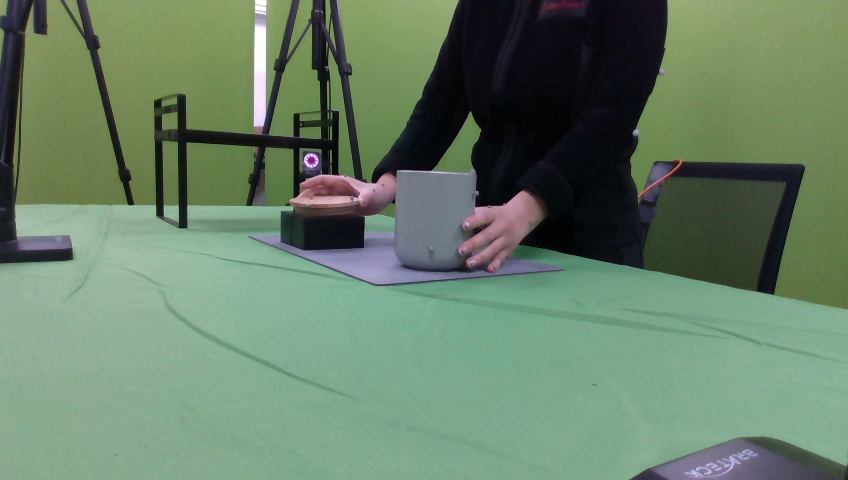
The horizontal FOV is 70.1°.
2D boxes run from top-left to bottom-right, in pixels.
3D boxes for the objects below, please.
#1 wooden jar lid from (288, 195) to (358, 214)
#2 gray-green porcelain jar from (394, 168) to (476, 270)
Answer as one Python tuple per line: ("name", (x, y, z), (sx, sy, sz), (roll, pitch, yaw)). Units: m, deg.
("wooden jar lid", (-0.157, -0.056, 0.950), (0.108, 0.020, 0.108), (0, 12, 0))
("gray-green porcelain jar", (0.014, -0.029, 0.793), (0.106, 0.126, 0.106), (2, 7, 0))
